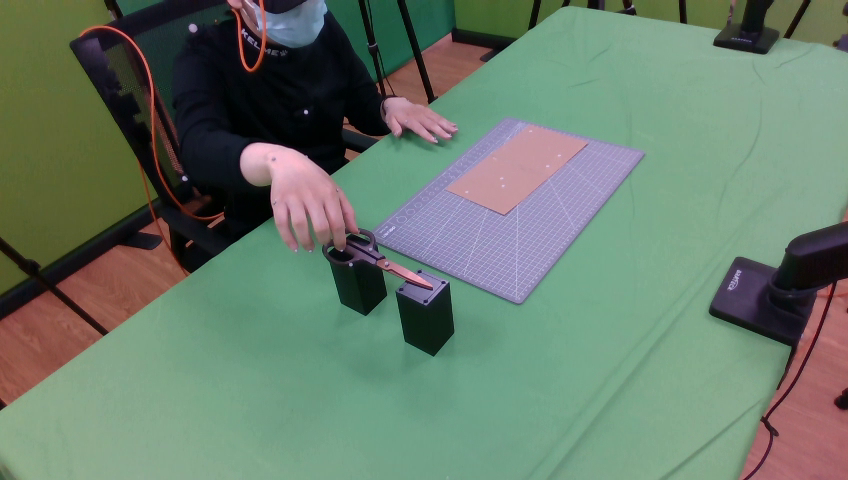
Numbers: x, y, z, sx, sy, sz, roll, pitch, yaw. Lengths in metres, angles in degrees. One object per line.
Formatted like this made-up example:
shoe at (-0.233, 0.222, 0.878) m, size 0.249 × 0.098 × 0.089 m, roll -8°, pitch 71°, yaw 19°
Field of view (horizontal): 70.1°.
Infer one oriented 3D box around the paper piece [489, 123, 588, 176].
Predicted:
paper piece at (0.218, -0.176, 1.150) m, size 0.135 × 0.009 × 0.138 m, roll 30°, pitch 52°, yaw 31°

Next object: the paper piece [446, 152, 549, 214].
paper piece at (0.130, -0.105, 1.078) m, size 0.134 × 0.004 × 0.136 m, roll 29°, pitch 53°, yaw 32°

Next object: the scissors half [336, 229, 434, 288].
scissors half at (-0.052, 0.023, 0.803) m, size 0.173 × 0.013 × 0.040 m, roll 30°, pitch 52°, yaw 34°

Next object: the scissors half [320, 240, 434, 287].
scissors half at (-0.064, 0.033, 0.790) m, size 0.174 × 0.013 × 0.040 m, roll 16°, pitch 40°, yaw 22°
